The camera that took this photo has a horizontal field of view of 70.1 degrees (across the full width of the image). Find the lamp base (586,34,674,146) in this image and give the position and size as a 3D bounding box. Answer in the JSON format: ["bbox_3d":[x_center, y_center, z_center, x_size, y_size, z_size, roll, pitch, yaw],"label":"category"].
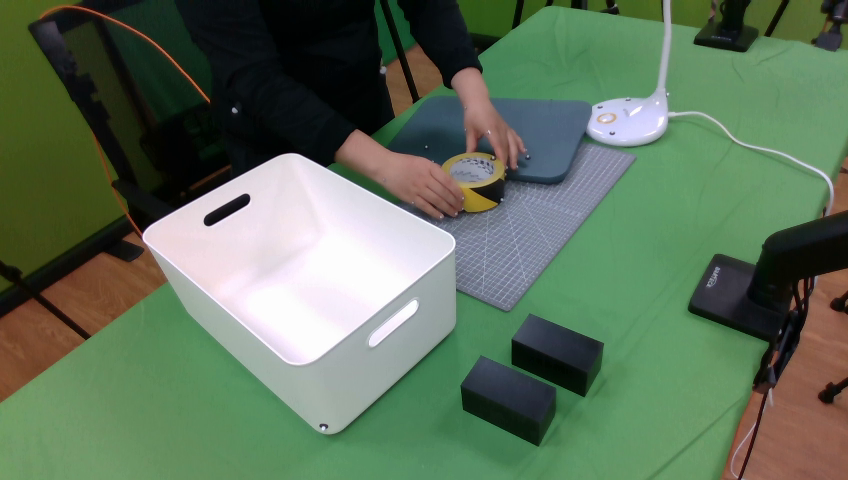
[{"bbox_3d":[0.392,-0.291,1.129,0.180,0.181,0.159,-11,41,-8],"label":"lamp base"}]

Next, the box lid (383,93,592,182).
[{"bbox_3d":[0.128,-0.211,1.192,0.369,0.015,0.263,9,45,22],"label":"box lid"}]

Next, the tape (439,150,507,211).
[{"bbox_3d":[0.085,-0.103,1.042,0.117,0.053,0.116,-4,40,4],"label":"tape"}]

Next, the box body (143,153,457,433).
[{"bbox_3d":[-0.158,0.054,0.819,0.361,0.161,0.255,29,52,34],"label":"box body"}]
